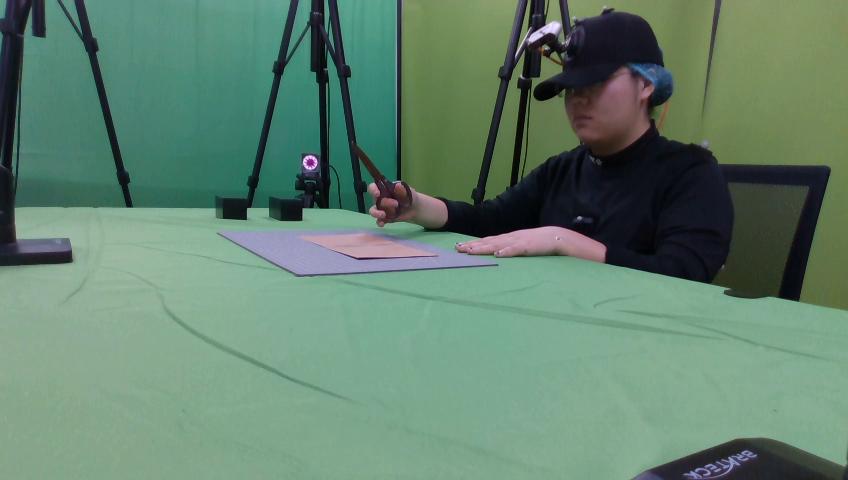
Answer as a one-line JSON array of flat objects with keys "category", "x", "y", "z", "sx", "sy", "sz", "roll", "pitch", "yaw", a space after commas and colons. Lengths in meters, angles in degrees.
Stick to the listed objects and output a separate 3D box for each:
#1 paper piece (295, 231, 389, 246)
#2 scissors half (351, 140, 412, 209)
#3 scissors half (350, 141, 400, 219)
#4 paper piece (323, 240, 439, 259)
[{"category": "paper piece", "x": -0.138, "y": -0.002, "z": 1.045, "sx": 0.136, "sy": 0.004, "sz": 0.134, "roll": -3, "pitch": 9, "yaw": -30}, {"category": "scissors half", "x": -0.076, "y": -0.120, "z": 1.101, "sx": 0.176, "sy": 0.040, "sz": 0.013, "roll": 45, "pitch": -8, "yaw": -35}, {"category": "scissors half", "x": -0.091, "y": -0.107, "z": 1.098, "sx": 0.040, "sy": 0.175, "sz": 0.012, "roll": -33, "pitch": 32, "yaw": -10}, {"category": "paper piece", "x": -0.069, "y": 0.015, "z": 0.932, "sx": 0.137, "sy": 0.008, "sz": 0.137, "roll": -5, "pitch": 11, "yaw": -30}]
